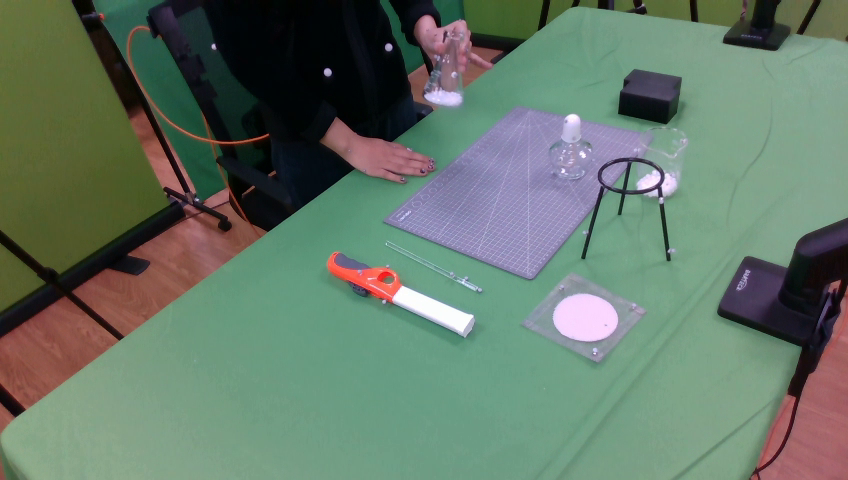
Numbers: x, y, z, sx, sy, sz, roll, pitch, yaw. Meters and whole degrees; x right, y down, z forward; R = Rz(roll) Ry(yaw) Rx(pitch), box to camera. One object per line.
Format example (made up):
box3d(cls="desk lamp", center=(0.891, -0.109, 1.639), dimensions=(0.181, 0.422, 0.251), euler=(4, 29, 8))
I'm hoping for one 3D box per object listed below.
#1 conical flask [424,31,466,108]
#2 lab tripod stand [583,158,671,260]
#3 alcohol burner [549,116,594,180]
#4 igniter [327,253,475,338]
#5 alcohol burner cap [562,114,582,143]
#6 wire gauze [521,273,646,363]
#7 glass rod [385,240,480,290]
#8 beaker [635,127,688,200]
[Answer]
box3d(cls="conical flask", center=(0.043, -0.296, 1.046), dimensions=(0.075, 0.122, 0.075), euler=(7, 26, -3))
box3d(cls="lab tripod stand", center=(0.300, -0.046, 0.895), dimensions=(0.148, 0.132, 0.147), euler=(-7, 38, 6))
box3d(cls="alcohol burner", center=(0.258, -0.166, 1.055), dimensions=(0.078, 0.120, 0.077), euler=(-6, 42, 6))
box3d(cls="igniter", center=(-0.045, 0.077, 0.898), dimensions=(0.274, 0.025, 0.057), euler=(22, 60, 32))
box3d(cls="alcohol burner cap", center=(0.254, -0.192, 1.030), dimensions=(0.034, 0.048, 0.033), euler=(-4, 50, 6))
box3d(cls="wire gauze", center=(0.219, 0.105, 0.830), dimensions=(0.120, 0.011, 0.125), euler=(28, 54, 37))
box3d(cls="glass rod", center=(0.009, 0.037, 0.950), dimensions=(0.198, 0.008, 0.008), euler=(26, 52, 35))
box3d(cls="beaker", center=(0.388, -0.122, 0.994), dimensions=(0.074, 0.101, 0.083), euler=(-8, 40, 2))
